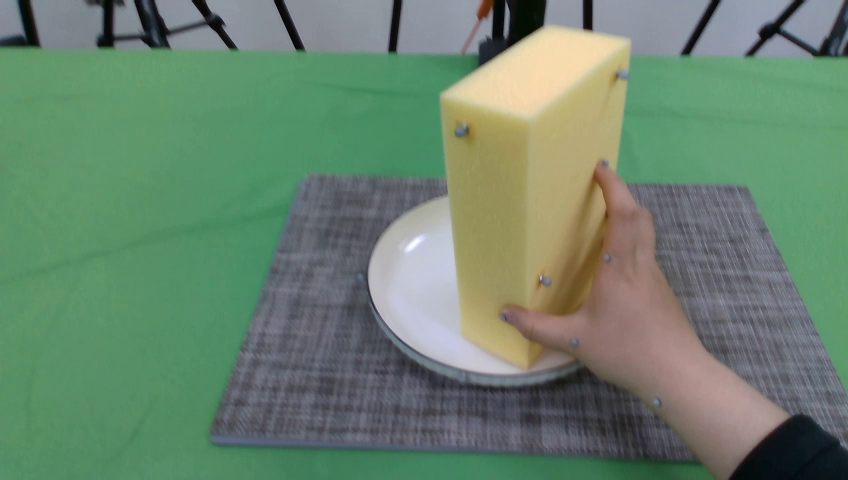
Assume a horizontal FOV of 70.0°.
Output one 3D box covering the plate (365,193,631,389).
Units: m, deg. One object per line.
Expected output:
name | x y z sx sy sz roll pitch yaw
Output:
plate | 0.057 0.035 0.491 0.208 0.039 0.205 0 44 1

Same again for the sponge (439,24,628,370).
sponge | 0.077 -0.024 0.416 0.060 0.209 0.118 24 50 32
